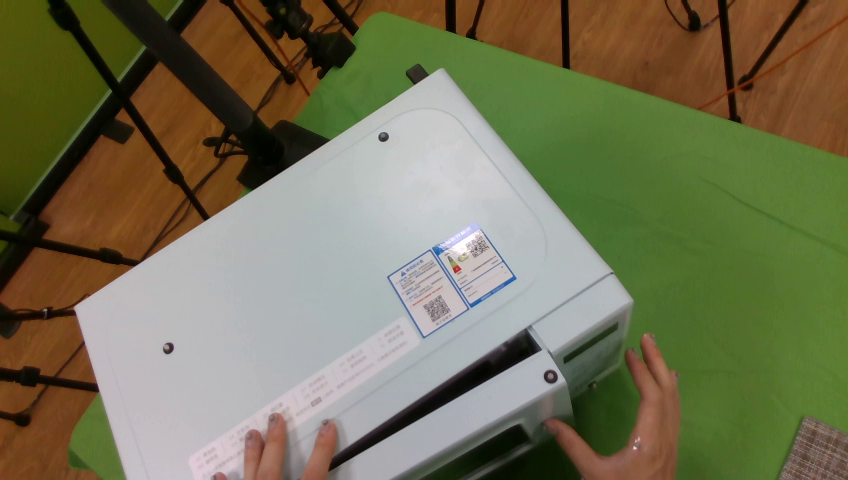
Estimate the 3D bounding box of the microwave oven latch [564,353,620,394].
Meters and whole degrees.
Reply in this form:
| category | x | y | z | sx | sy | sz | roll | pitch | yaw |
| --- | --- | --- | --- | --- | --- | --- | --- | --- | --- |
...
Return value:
| category | x | y | z | sx | sy | sz | roll | pitch | yaw |
| --- | --- | --- | --- | --- | --- | --- | --- | --- | --- |
| microwave oven latch | 0.178 | 0.139 | 0.668 | 0.079 | 0.030 | 0.030 | -32 | 63 | 0 |

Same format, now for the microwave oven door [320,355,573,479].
| category | x | y | z | sx | sy | sz | roll | pitch | yaw |
| --- | --- | --- | --- | --- | --- | --- | --- | --- | --- |
| microwave oven door | -0.026 | 0.227 | 0.570 | 0.356 | 0.246 | 0.039 | -30 | 62 | 1 |

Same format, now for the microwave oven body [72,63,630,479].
| category | x | y | z | sx | sy | sz | roll | pitch | yaw |
| --- | --- | --- | --- | --- | --- | --- | --- | --- | --- |
| microwave oven body | -0.067 | 0.090 | 0.646 | 0.442 | 0.262 | 0.323 | -34 | 63 | -1 |
